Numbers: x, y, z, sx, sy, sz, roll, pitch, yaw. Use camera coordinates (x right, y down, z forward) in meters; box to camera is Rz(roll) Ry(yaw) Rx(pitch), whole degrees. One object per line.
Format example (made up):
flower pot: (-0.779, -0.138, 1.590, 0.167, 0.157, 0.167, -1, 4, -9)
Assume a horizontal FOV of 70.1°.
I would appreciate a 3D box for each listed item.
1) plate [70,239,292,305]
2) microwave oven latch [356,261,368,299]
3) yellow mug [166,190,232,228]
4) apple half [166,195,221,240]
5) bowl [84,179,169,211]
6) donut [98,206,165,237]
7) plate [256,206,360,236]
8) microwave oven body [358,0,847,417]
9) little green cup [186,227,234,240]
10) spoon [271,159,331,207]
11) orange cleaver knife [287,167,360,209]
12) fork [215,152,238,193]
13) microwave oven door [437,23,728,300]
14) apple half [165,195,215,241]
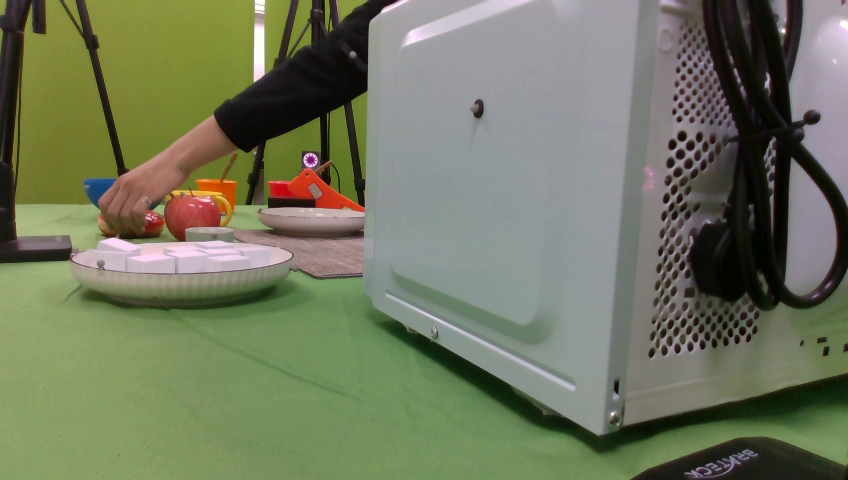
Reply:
plate: (-0.242, 0.031, 0.618, 0.208, 0.039, 0.207, 2, 8, 0)
microwave oven latch: (-0.019, 0.034, 0.529, 0.079, 0.029, 0.030, 0, 7, -24)
yellow mug: (-0.415, -0.057, 1.131, 0.130, 0.064, 0.100, 6, 8, 17)
apple half: (-0.352, -0.031, 0.935, 0.081, 0.074, 0.053, 1, 11, -40)
bowl: (-0.584, -0.078, 1.194, 0.151, 0.077, 0.151, 3, 8, 0)
donut: (-0.472, -0.028, 0.979, 0.099, 0.048, 0.099, 6, 9, -1)
plate: (-0.202, -0.036, 1.120, 0.209, 0.038, 0.209, 2, 8, 0)
microwave oven body: (0.211, -0.047, 0.474, 0.444, 0.260, 0.324, -1, 7, -28)
little green cup: (-0.284, 0.005, 0.805, 0.061, 0.038, 0.061, 2, 8, 0)
spoon: (-0.307, -0.141, 1.513, 0.193, 0.021, 0.041, -41, 3, 8)
orange cleaver knife: (-0.209, -0.089, 1.383, 0.212, 0.077, 0.012, 31, 4, -15)
fork: (-0.455, -0.132, 1.366, 0.028, 0.018, 0.207, -3, -34, -38)
microwave oven door: (0.181, -0.072, 0.621, 0.358, 0.243, 0.039, -2, 8, -29)
apple half: (-0.377, -0.037, 0.964, 0.082, 0.081, 0.032, -4, 15, -40)
